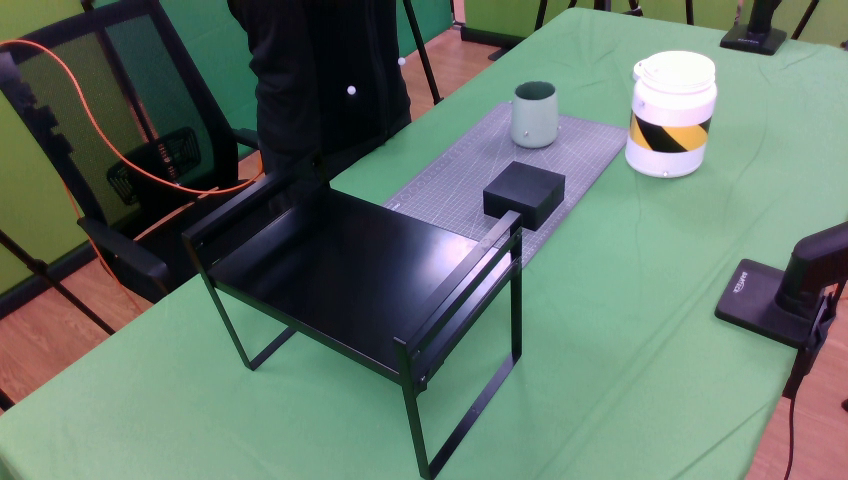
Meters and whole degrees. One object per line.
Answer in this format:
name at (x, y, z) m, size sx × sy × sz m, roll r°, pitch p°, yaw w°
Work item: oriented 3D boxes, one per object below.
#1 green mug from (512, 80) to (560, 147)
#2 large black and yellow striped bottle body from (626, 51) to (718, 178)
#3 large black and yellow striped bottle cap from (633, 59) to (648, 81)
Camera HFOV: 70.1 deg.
green mug at (0.217, -0.251, 1.169) m, size 0.092 × 0.105 × 0.125 m, roll 2°, pitch 42°, yaw 12°
large black and yellow striped bottle body at (0.423, -0.214, 1.038) m, size 0.131 × 0.185 × 0.130 m, roll -4°, pitch 41°, yaw 4°
large black and yellow striped bottle cap at (0.521, -0.370, 1.332) m, size 0.115 × 0.019 × 0.114 m, roll -3°, pitch 41°, yaw 4°
